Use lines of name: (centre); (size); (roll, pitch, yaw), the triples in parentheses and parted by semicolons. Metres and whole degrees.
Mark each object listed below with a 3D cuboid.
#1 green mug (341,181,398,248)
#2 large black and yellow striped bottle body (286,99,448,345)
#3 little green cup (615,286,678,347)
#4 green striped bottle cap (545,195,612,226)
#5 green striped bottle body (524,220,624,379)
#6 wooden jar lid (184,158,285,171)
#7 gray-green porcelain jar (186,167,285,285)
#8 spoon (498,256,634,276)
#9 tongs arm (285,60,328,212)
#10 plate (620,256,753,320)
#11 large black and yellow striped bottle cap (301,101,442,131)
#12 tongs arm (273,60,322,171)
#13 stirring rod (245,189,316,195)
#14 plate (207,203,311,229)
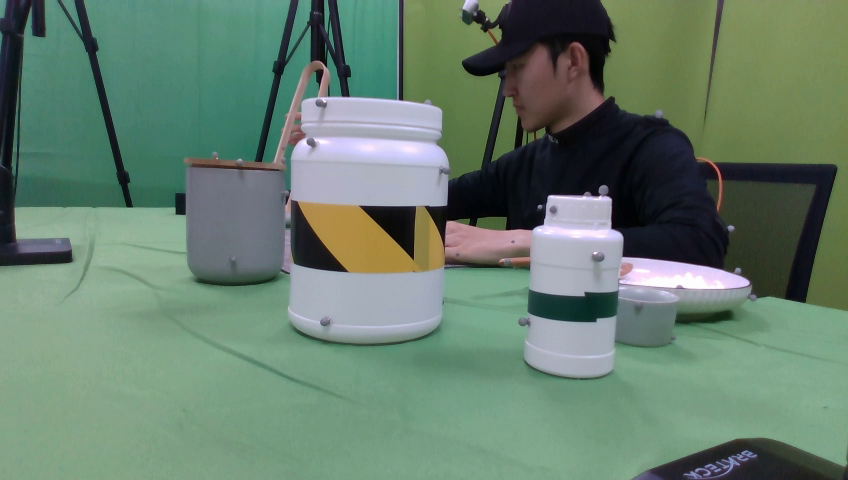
green mug: (-0.089, -0.044, 0.997); (0.093, 0.105, 0.125); (1, 7, -8)
large black and yellow striped bottle body: (-0.047, -0.018, 0.501); (0.131, 0.184, 0.130); (2, 7, 0)
little green cup: (0.180, 0.064, 0.506); (0.061, 0.038, 0.061); (1, 9, 0)
green striped bottle cap: (0.106, -0.020, 0.414); (0.044, 0.020, 0.044); (2, 4, 0)
green striped bottle body: (0.104, 0.031, 0.422); (0.063, 0.119, 0.063); (2, 7, 0)
wooden jar lid: (-0.210, -0.078, 0.674); (0.108, 0.020, 0.108); (4, 5, 0)
gray-green porcelain jar: (-0.212, -0.017, 0.682); (0.106, 0.126, 0.106); (2, 7, 0)
spoon: (0.162, 0.027, 0.679); (0.195, 0.021, 0.041); (8, 3, -30)
tongs arm: (-0.264, -0.233, 1.351); (0.028, 0.387, 0.028); (1, -20, 27)
plate: (0.234, 0.049, 0.651); (0.209, 0.038, 0.209); (2, 7, 0)
large black and yellow striped bottle cap: (-0.042, -0.100, 0.491); (0.115, 0.019, 0.115); (1, 8, 0)
tongs arm: (-0.298, -0.236, 1.365); (0.050, 0.384, 0.026); (2, -19, 23)
stirring rod: (-0.351, -0.119, 1.490); (0.177, 0.014, 0.006); (-2, 5, -29)
plate: (-0.342, -0.050, 1.259); (0.208, 0.039, 0.207); (3, 7, 0)
